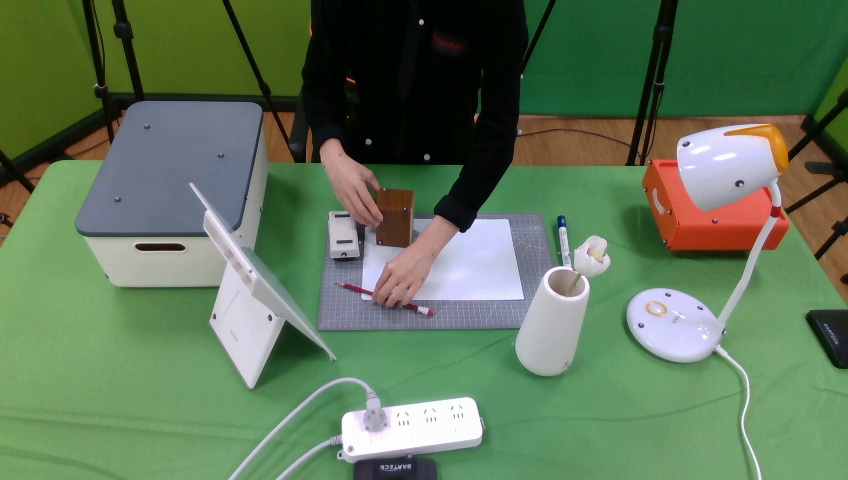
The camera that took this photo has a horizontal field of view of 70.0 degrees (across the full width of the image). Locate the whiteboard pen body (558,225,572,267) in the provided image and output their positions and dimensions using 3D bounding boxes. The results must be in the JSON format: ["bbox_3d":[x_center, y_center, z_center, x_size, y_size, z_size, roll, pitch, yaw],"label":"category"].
[{"bbox_3d":[0.280,0.010,1.207,0.017,0.017,0.140,3,50,-1],"label":"whiteboard pen body"}]

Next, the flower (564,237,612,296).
[{"bbox_3d":[0.206,0.088,0.893,0.038,0.363,0.044,-17,67,-9],"label":"flower"}]

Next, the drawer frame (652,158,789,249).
[{"bbox_3d":[0.571,-0.075,1.214,0.214,0.083,0.200,0,45,-1],"label":"drawer frame"}]

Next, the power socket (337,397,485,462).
[{"bbox_3d":[-0.018,0.285,0.915,0.227,0.033,0.071,-5,46,-8],"label":"power socket"}]

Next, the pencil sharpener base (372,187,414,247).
[{"bbox_3d":[-0.060,-0.043,1.171,0.077,0.107,0.061,5,46,1],"label":"pencil sharpener base"}]

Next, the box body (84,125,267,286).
[{"bbox_3d":[-0.446,-0.088,1.150,0.254,0.161,0.361,-1,46,-5],"label":"box body"}]

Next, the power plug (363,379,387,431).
[{"bbox_3d":[-0.072,0.252,0.910,0.035,0.053,0.072,3,45,-1],"label":"power plug"}]

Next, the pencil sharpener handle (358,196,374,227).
[{"bbox_3d":[-0.111,-0.054,1.160,0.030,0.068,0.036,5,35,1],"label":"pencil sharpener handle"}]

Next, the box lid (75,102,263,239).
[{"bbox_3d":[-0.442,-0.138,1.094,0.263,0.015,0.369,-1,47,-5],"label":"box lid"}]

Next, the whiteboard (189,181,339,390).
[{"bbox_3d":[-0.292,0.096,0.929,0.144,0.307,0.216,-37,57,-10],"label":"whiteboard"}]

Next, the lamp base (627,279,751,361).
[{"bbox_3d":[0.459,0.100,1.027,0.178,0.181,0.160,27,51,17],"label":"lamp base"}]

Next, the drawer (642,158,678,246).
[{"bbox_3d":[0.565,-0.075,1.211,0.212,0.073,0.193,2,45,-2],"label":"drawer"}]

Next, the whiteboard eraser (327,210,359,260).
[{"bbox_3d":[-0.159,-0.009,1.177,0.055,0.042,0.112,-6,47,-7],"label":"whiteboard eraser"}]

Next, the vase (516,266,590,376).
[{"bbox_3d":[0.208,0.132,0.964,0.098,0.201,0.097,3,46,-3],"label":"vase"}]

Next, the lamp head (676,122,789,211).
[{"bbox_3d":[0.423,-0.104,0.819,0.122,0.113,0.112,-13,33,40],"label":"lamp head"}]

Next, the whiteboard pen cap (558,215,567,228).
[{"bbox_3d":[0.284,-0.034,1.245,0.018,0.018,0.033,4,52,-1],"label":"whiteboard pen cap"}]

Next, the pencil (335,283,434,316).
[{"bbox_3d":[-0.074,0.105,1.097,0.194,0.012,0.012,16,47,13],"label":"pencil"}]
